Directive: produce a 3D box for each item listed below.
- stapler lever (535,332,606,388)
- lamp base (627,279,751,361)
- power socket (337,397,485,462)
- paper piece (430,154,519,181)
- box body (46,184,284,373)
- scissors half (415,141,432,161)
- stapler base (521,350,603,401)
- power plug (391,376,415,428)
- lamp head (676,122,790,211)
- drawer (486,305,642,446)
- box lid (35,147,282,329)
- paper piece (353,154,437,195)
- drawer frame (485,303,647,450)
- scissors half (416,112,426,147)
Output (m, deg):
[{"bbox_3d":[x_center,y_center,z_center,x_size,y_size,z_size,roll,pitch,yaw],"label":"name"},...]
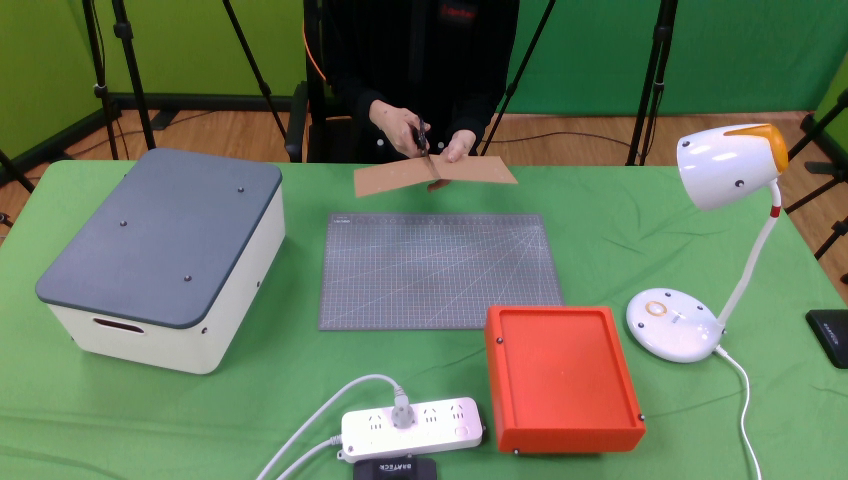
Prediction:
[{"bbox_3d":[0.225,0.182,0.929,0.118,0.040,0.027,27,34,15],"label":"stapler lever"},{"bbox_3d":[0.460,0.100,1.027,0.178,0.181,0.160,27,51,17],"label":"lamp base"},{"bbox_3d":[-0.018,0.285,0.915,0.227,0.033,0.071,-4,46,-8],"label":"power socket"},{"bbox_3d":[0.080,-0.125,1.030,0.136,0.009,0.137,5,22,-10],"label":"paper piece"},{"bbox_3d":[-0.414,0.029,1.040,0.254,0.161,0.362,10,46,5],"label":"box body"},{"bbox_3d":[0.000,-0.157,1.109,0.013,0.040,0.174,-2,13,-8],"label":"scissors half"},{"bbox_3d":[0.217,0.203,0.942,0.130,0.024,0.041,26,34,16],"label":"stapler base"},{"bbox_3d":[-0.030,0.249,0.917,0.035,0.053,0.072,3,46,0],"label":"power plug"},{"bbox_3d":[0.423,-0.104,0.819,0.122,0.113,0.112,-13,33,40],"label":"lamp head"},{"bbox_3d":[0.202,0.200,0.919,0.195,0.073,0.210,2,47,-4],"label":"drawer"},{"bbox_3d":[-0.411,-0.023,0.987,0.263,0.015,0.369,10,47,5],"label":"box lid"},{"bbox_3d":[-0.052,-0.114,1.016,0.135,0.004,0.135,-12,26,-2],"label":"paper piece"},{"bbox_3d":[0.204,0.202,0.917,0.202,0.083,0.212,1,47,-4],"label":"drawer frame"},{"bbox_3d":[0.000,-0.178,1.097,0.013,0.040,0.174,-6,48,-5],"label":"scissors half"}]
